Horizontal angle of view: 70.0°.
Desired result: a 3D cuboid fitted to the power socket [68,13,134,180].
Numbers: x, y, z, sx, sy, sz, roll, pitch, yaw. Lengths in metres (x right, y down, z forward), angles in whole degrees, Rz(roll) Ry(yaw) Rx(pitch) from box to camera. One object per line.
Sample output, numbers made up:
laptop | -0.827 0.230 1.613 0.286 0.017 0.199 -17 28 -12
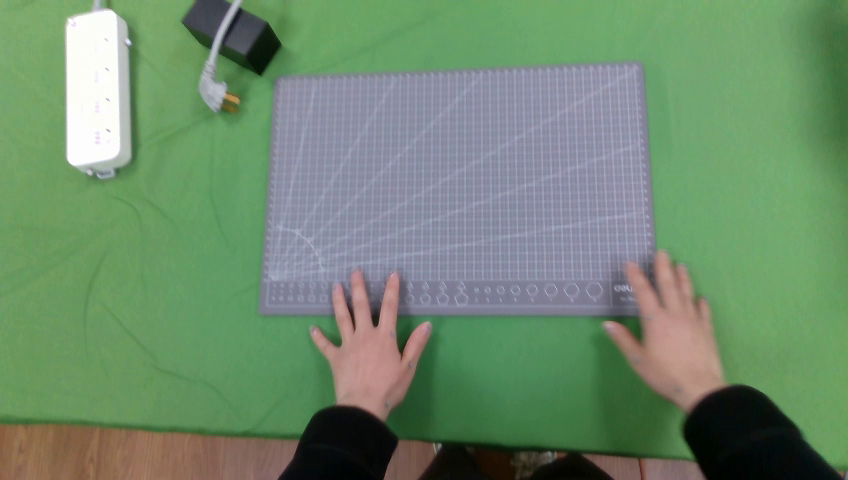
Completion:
power socket | -0.413 -0.188 0.774 0.072 0.033 0.225 -9 76 3

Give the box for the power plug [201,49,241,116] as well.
power plug | -0.244 -0.186 0.741 0.053 0.073 0.035 20 34 -23
